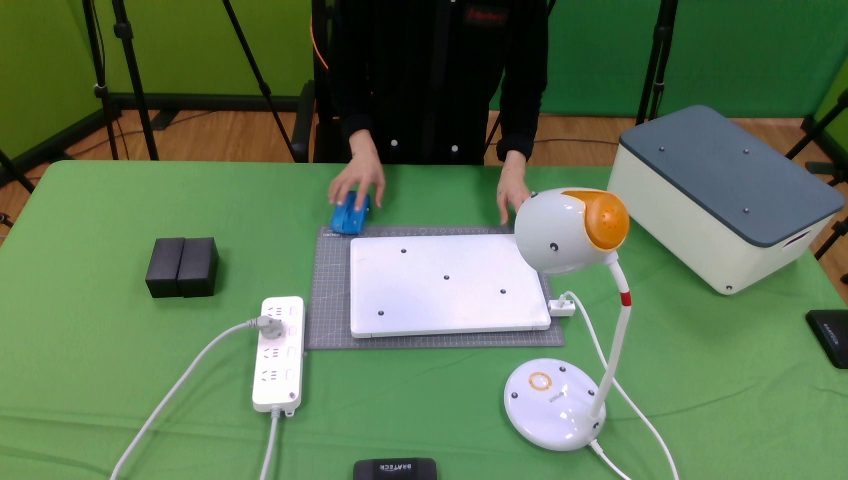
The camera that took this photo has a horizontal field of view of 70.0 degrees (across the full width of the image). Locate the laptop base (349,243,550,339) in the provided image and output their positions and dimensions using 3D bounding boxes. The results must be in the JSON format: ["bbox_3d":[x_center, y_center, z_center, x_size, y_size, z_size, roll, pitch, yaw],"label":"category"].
[{"bbox_3d":[0.039,0.081,1.124,0.355,0.023,0.234,-2,43,-6],"label":"laptop base"}]

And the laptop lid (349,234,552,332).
[{"bbox_3d":[0.040,0.071,1.118,0.357,0.013,0.240,0,44,-5],"label":"laptop lid"}]

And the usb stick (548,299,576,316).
[{"bbox_3d":[0.239,0.121,1.084,0.059,0.027,0.021,-1,51,-1],"label":"usb stick"}]

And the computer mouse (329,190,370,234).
[{"bbox_3d":[-0.150,-0.061,1.232,0.063,0.041,0.116,10,48,4],"label":"computer mouse"}]

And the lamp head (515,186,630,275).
[{"bbox_3d":[0.188,-0.013,0.728,0.112,0.112,0.122,-25,9,-25],"label":"lamp head"}]

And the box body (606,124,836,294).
[{"bbox_3d":[0.584,-0.088,1.230,0.254,0.161,0.361,-22,52,-23],"label":"box body"}]

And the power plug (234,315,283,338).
[{"bbox_3d":[-0.269,0.143,1.000,0.072,0.053,0.035,4,47,2],"label":"power plug"}]

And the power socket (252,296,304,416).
[{"bbox_3d":[-0.238,0.181,0.997,0.072,0.033,0.225,-3,47,-5],"label":"power socket"}]

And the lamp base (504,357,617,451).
[{"bbox_3d":[0.220,0.211,0.903,0.160,0.181,0.178,-33,59,-30],"label":"lamp base"}]

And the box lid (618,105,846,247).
[{"bbox_3d":[0.587,-0.138,1.175,0.263,0.015,0.369,-22,51,-22],"label":"box lid"}]
